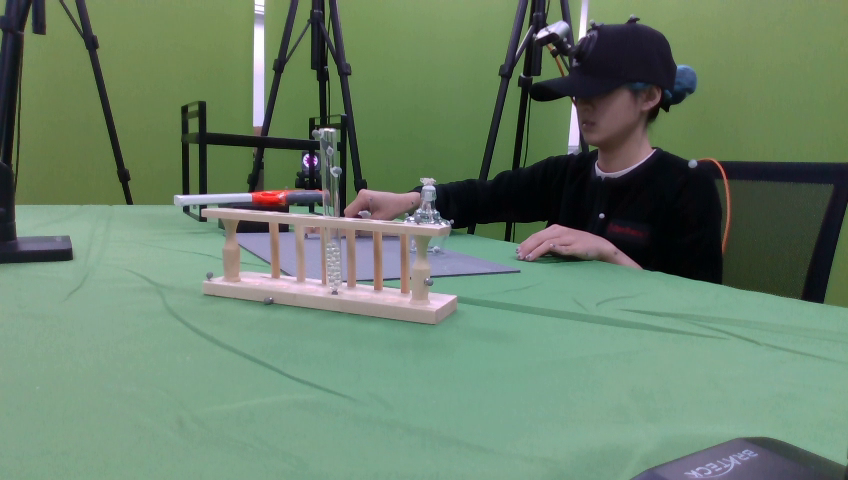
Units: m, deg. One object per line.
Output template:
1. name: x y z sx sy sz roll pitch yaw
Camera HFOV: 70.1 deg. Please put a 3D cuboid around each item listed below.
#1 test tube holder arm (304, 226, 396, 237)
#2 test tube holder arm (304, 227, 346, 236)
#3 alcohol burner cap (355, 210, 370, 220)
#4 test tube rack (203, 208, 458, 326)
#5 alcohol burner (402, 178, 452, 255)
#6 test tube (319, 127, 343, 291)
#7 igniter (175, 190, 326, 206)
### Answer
1. test tube holder arm: -0.129 -0.015 1.074 0.179 0.015 0.013 1 18 -34
2. test tube holder arm: -0.165 -0.014 1.044 0.088 0.015 0.010 2 18 -32
3. alcohol burner cap: -0.117 -0.033 1.136 0.034 0.048 0.034 2 6 0
4. test tube rack: -0.090 0.019 0.579 0.242 0.085 0.067 5 7 19
5. alcohol burner: 0.005 -0.036 0.923 0.078 0.119 0.078 5 7 0
6. test tube: -0.084 -0.027 0.552 0.017 0.150 0.017 -1 8 0
7. igniter: -0.315 -0.079 1.128 0.278 0.025 0.057 -5 13 -34
